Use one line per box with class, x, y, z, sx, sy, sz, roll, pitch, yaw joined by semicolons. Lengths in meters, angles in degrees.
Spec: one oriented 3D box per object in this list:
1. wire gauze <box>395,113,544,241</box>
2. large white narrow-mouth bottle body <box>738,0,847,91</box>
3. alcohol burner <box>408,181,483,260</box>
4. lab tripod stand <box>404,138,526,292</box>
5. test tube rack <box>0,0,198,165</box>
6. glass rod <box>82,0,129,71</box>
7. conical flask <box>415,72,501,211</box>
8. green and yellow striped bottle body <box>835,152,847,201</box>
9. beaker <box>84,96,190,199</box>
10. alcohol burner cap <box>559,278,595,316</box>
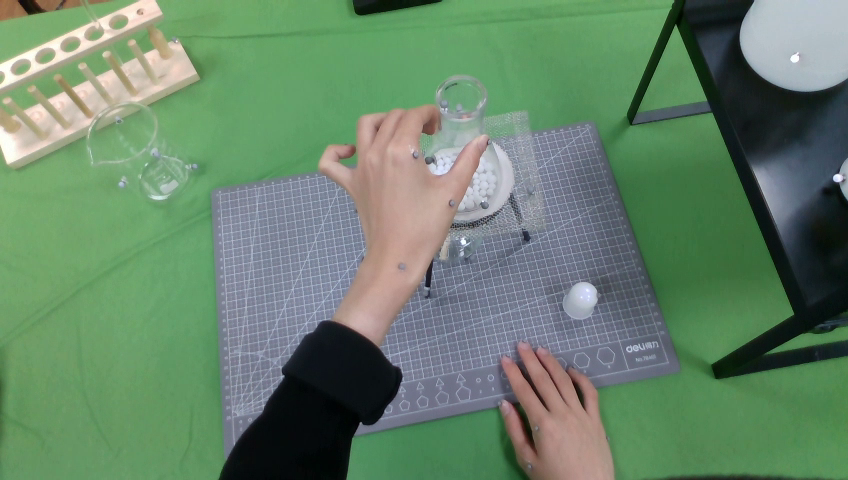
wire gauze;0.038;-0.061;0.539;0.121;0.011;0.124;-5;65;-2
large white narrow-mouth bottle body;0.313;-0.203;0.434;0.102;0.196;0.101;-1;65;2
alcohol burner;0.022;-0.026;0.607;0.078;0.120;0.077;0;66;0
lab tripod stand;0.035;-0.030;0.598;0.148;0.132;0.147;0;66;1
test tube rack;-0.404;-0.188;0.710;0.242;0.086;0.066;-29;69;-10
glass rod;-0.366;-0.254;0.664;0.008;0.201;0.008;1;65;-1
conical flask;0.027;-0.080;0.483;0.075;0.123;0.075;-1;66;2
green and yellow striped bottle body;0.348;-0.067;0.415;0.063;0.120;0.062;-1;67;3
beaker;-0.309;-0.093;0.660;0.073;0.101;0.084;34;73;16
alcohol burner cap;0.155;0.054;0.608;0.034;0.048;0.033;-1;68;2
